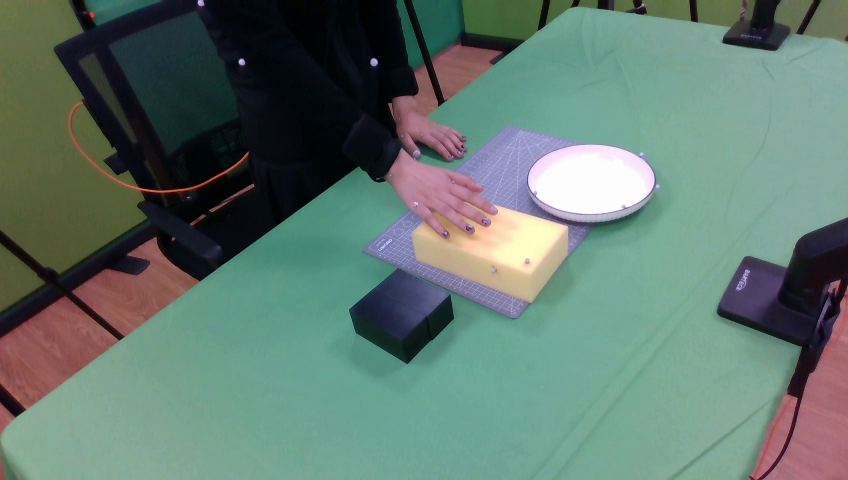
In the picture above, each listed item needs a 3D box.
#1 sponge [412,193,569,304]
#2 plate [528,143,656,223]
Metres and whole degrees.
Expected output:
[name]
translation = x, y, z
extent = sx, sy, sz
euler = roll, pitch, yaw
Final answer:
[sponge]
translation = 0.101, 0.007, 0.922
extent = 0.205, 0.061, 0.118
euler = 19, 48, 29
[plate]
translation = 0.281, -0.093, 1.023
extent = 0.209, 0.038, 0.208
euler = -5, 40, 5
